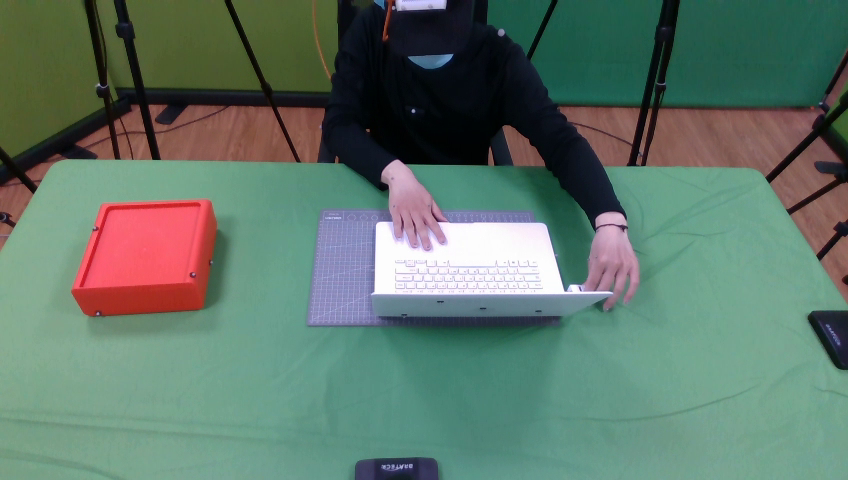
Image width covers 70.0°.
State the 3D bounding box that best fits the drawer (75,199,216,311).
[{"bbox_3d":[-0.494,0.023,1.097,0.195,0.073,0.210,-2,47,-8],"label":"drawer"}]

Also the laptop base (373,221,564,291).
[{"bbox_3d":[0.080,0.049,1.159,0.355,0.023,0.234,0,43,-4],"label":"laptop base"}]

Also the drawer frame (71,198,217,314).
[{"bbox_3d":[-0.493,0.024,1.095,0.202,0.083,0.212,-3,47,-8],"label":"drawer frame"}]

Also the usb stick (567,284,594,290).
[{"bbox_3d":[0.282,0.096,1.116,0.059,0.027,0.021,0,47,-9],"label":"usb stick"}]

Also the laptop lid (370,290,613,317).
[{"bbox_3d":[0.093,0.103,0.966,0.357,0.242,0.013,0,75,-5],"label":"laptop lid"}]
